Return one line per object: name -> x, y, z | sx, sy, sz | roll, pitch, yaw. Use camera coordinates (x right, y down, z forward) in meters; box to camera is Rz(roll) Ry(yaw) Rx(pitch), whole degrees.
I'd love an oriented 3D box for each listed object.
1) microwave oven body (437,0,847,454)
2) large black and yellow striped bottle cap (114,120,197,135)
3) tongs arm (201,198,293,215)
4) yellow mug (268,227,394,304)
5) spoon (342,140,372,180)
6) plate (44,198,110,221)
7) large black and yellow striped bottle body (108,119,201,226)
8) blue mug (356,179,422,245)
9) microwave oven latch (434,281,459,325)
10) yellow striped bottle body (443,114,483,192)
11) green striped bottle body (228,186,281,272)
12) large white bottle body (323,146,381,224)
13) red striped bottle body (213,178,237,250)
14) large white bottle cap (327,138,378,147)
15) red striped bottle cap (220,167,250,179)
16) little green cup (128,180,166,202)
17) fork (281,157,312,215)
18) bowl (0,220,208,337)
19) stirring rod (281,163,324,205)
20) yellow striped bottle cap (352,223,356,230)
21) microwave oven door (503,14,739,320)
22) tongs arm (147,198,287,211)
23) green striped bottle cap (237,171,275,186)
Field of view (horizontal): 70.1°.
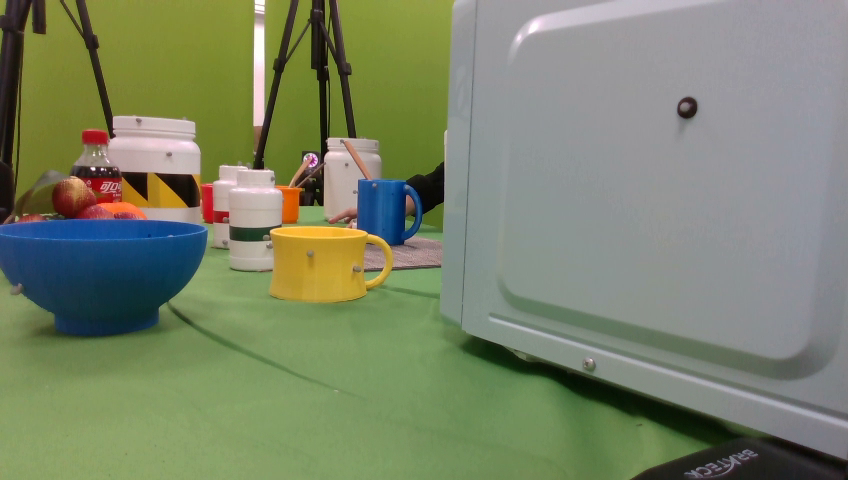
microwave oven body -> 0.279, -0.040, 0.464 | 0.444, 0.260, 0.324 | -3, 9, -41
large black and yellow striped bottle cap -> -0.407, -0.171, 0.920 | 0.115, 0.019, 0.115 | 2, 9, 0
tongs arm -> -0.423, -0.084, 1.472 | 0.050, 0.026, 0.386 | 2, 6, 21
yellow mug -> -0.094, 0.023, 0.630 | 0.131, 0.064, 0.099 | 0, 8, -22
spoon -> -0.093, -0.094, 1.024 | 0.021, 0.193, 0.042 | -37, -18, 36
plate -> -0.617, -0.056, 1.179 | 0.209, 0.038, 0.209 | 3, 7, 0
large black and yellow striped bottle body -> -0.412, -0.088, 0.930 | 0.131, 0.184, 0.130 | 3, 7, 0
blue mug -> -0.057, -0.047, 1.006 | 0.116, 0.106, 0.082 | 5, 8, 21
microwave oven latch -> 0.044, 0.045, 0.470 | 0.079, 0.029, 0.030 | -2, 8, -39
yellow striped bottle body -> 0.061, -0.136, 0.950 | 0.063, 0.120, 0.063 | -1, 5, 0
green striped bottle body -> -0.208, -0.023, 0.745 | 0.063, 0.119, 0.063 | 2, 7, 0
large white bottle body -> -0.163, -0.134, 1.369 | 0.131, 0.184, 0.130 | 2, 8, 0
red striped bottle body -> -0.284, -0.048, 0.909 | 0.063, 0.119, 0.063 | 3, 10, 0
large white bottle cap -> -0.160, -0.218, 1.357 | 0.115, 0.018, 0.115 | 2, 8, 0
red striped bottle cap -> -0.281, -0.100, 0.901 | 0.044, 0.017, 0.044 | -1, 5, 0
little green cup -> -0.485, -0.087, 1.062 | 0.061, 0.038, 0.061 | -1, 6, 0
fork -> -0.289, -0.116, 1.321 | 0.028, 0.019, 0.207 | 6, 51, 19
bowl -> -0.251, 0.029, 0.479 | 0.151, 0.077, 0.151 | 2, 7, 0
stirring rod -> -0.278, -0.105, 1.293 | 0.176, 0.006, 0.014 | -47, 24, -18
yellow striped bottle cap -> -0.115, -0.022, 1.144 | 0.044, 0.018, 0.044 | 2, 8, 0
microwave oven door -> 0.217, -0.065, 0.601 | 0.358, 0.243, 0.039 | -4, 10, -41
tongs arm -> -0.504, -0.091, 1.513 | 0.028, 0.028, 0.389 | -1, 4, 37
green striped bottle cap -> -0.205, -0.075, 0.738 | 0.044, 0.020, 0.044 | 1, 8, 0
